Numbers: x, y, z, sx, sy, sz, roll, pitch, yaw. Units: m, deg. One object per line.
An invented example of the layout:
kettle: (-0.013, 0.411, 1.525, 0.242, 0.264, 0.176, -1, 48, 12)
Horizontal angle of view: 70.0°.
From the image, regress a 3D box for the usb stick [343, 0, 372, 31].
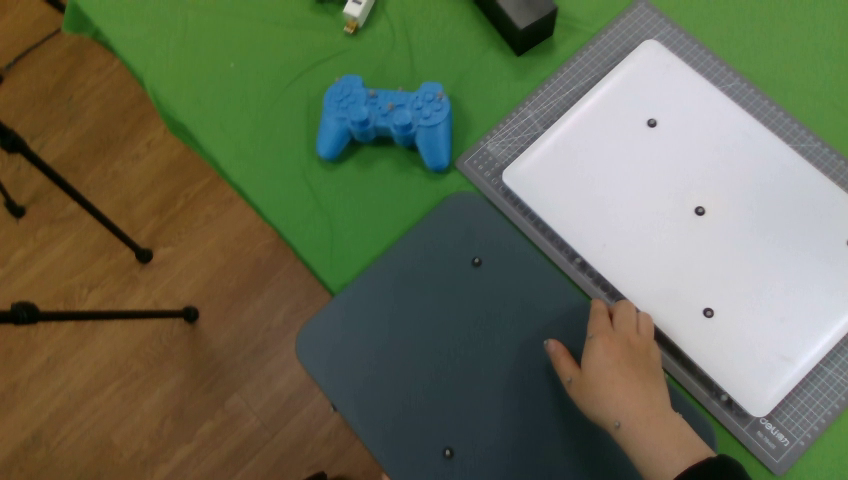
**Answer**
usb stick: (-0.080, -0.281, 0.727, 0.021, 0.027, 0.059, 24, 85, 4)

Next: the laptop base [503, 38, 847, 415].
laptop base: (0.285, -0.028, 0.632, 0.235, 0.023, 0.352, -43, 76, -3)

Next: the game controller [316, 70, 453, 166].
game controller: (-0.042, -0.140, 0.678, 0.155, 0.052, 0.096, 8, 73, 7)

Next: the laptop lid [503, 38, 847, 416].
laptop lid: (0.282, -0.029, 0.620, 0.241, 0.013, 0.354, -41, 75, -4)

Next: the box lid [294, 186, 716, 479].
box lid: (0.064, 0.139, 0.601, 0.263, 0.015, 0.369, -41, 72, -5)
